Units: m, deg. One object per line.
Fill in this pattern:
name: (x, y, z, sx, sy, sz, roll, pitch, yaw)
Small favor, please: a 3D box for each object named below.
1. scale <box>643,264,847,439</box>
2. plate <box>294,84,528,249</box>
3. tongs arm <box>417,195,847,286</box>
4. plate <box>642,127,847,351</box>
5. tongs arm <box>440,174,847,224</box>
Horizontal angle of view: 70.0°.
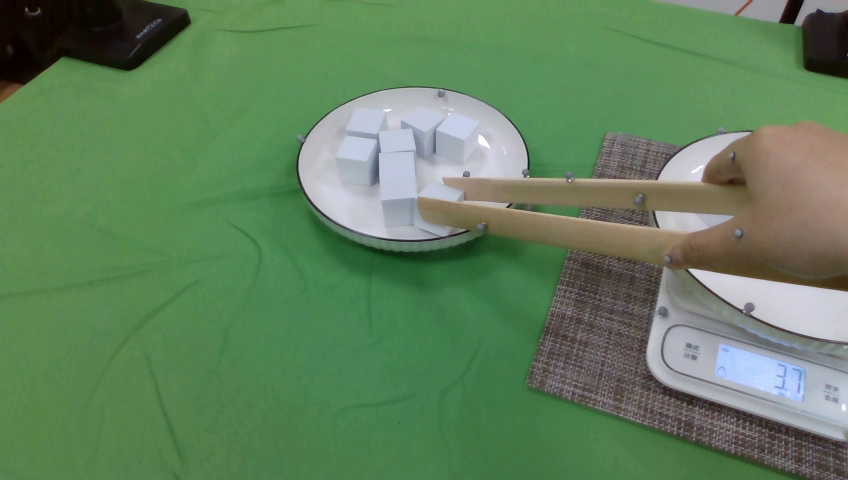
scale: (0.257, 0.038, 0.460, 0.148, 0.032, 0.200, 17, 52, 15)
plate: (-0.011, -0.067, 0.553, 0.209, 0.038, 0.207, 0, 49, 0)
tongs arm: (0.145, -0.004, 0.373, 0.384, 0.028, 0.028, 9, 38, 40)
plate: (0.266, -0.004, 0.453, 0.208, 0.039, 0.205, 0, 50, 0)
tongs arm: (0.159, -0.018, 0.387, 0.382, 0.027, 0.050, 6, 39, 36)
